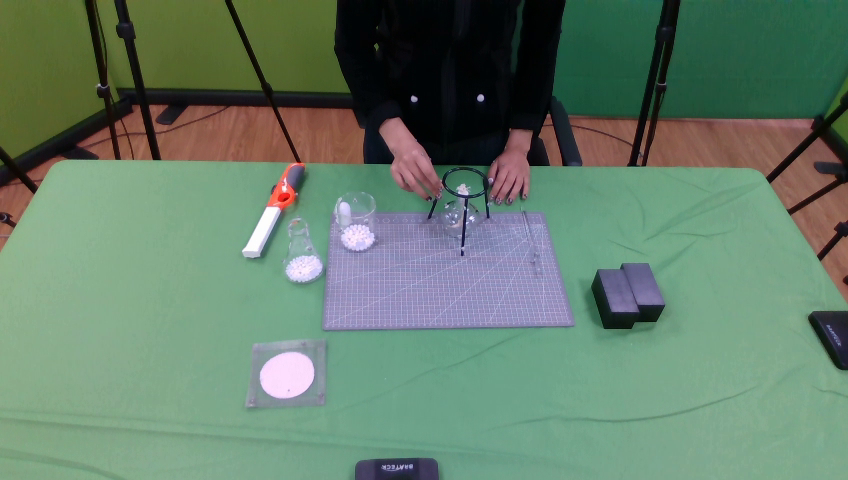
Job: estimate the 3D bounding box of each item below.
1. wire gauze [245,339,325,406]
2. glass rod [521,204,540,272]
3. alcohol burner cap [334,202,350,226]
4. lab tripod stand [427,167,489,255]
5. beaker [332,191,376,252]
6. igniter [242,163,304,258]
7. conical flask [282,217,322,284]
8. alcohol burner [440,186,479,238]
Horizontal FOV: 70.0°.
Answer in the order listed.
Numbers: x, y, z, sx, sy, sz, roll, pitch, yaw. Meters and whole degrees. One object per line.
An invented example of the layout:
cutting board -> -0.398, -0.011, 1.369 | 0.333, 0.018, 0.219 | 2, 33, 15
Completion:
wire gauze -> -0.224, 0.215, 0.984 | 0.125, 0.011, 0.120 | -3, 46, -4
glass rod -> 0.215, -0.008, 1.230 | 0.008, 0.008, 0.198 | 0, 43, -3
alcohol burner cap -> -0.167, -0.055, 1.223 | 0.034, 0.048, 0.033 | 2, 46, -2
lab tripod stand -> 0.076, -0.068, 1.191 | 0.148, 0.132, 0.147 | 2, 44, -2
beaker -> -0.133, -0.032, 1.163 | 0.084, 0.101, 0.073 | -19, 50, -20
igniter -> -0.305, -0.069, 1.239 | 0.057, 0.025, 0.275 | 2, 45, 12
conical flask -> -0.225, 0.016, 1.097 | 0.075, 0.122, 0.075 | 2, 46, -2
alcohol burner -> 0.072, -0.061, 1.198 | 0.078, 0.119, 0.077 | 3, 47, -3
